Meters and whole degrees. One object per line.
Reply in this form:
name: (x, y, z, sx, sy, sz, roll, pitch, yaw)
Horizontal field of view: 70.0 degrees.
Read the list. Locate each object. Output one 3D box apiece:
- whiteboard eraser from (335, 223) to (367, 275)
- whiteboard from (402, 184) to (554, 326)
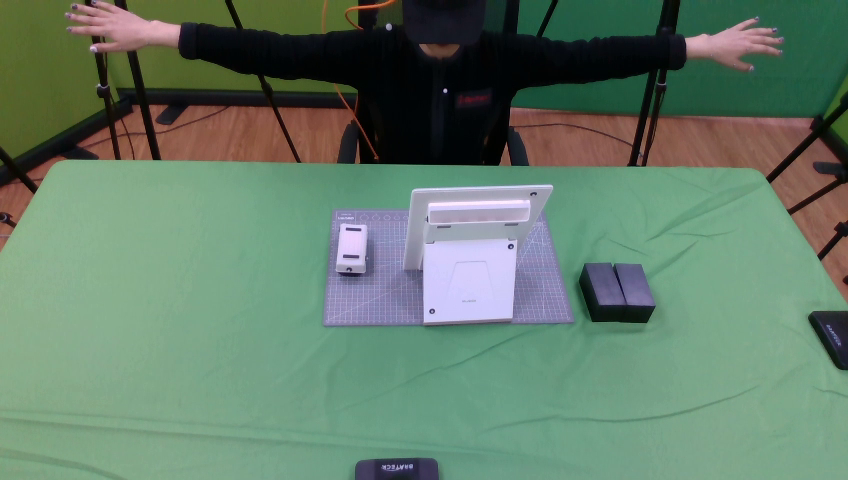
whiteboard eraser: (-0.139, 0.017, 1.153, 0.055, 0.042, 0.112, 1, 46, -3)
whiteboard: (0.081, 0.044, 1.005, 0.217, 0.306, 0.143, -1, 66, -6)
